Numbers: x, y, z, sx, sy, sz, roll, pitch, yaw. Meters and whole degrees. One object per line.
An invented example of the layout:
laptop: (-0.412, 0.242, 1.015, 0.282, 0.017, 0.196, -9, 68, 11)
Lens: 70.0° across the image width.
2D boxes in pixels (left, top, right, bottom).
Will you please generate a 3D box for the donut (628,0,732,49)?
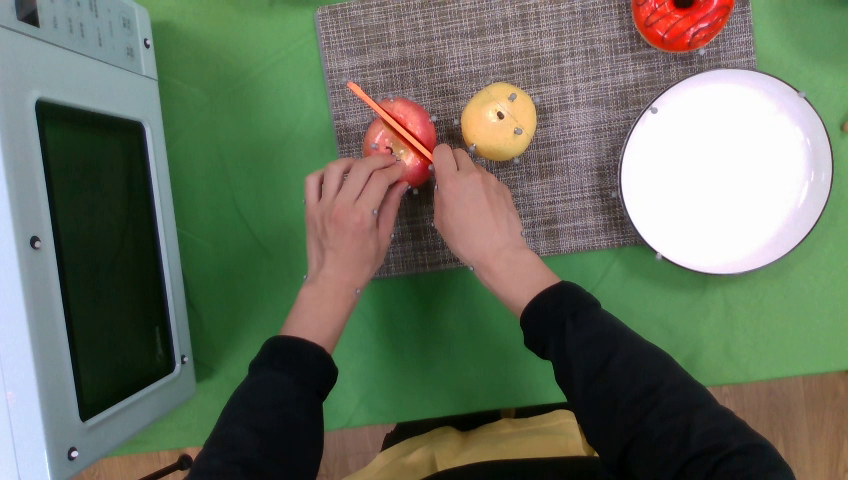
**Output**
donut: (0.256, -0.242, 0.607, 0.099, 0.048, 0.099, 1, 96, 8)

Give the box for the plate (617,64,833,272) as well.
plate: (0.303, -0.072, 0.623, 0.209, 0.038, 0.209, 0, 95, 5)

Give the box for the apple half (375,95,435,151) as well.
apple half: (-0.013, -0.126, 0.630, 0.081, 0.081, 0.033, 40, 90, 1)

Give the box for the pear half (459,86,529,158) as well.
pear half: (0.066, -0.113, 0.604, 0.076, 0.110, 0.056, 42, 97, 5)

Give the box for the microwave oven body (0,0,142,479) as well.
microwave oven body: (-0.451, -0.020, 0.584, 0.326, 0.260, 0.442, -5, 95, 5)

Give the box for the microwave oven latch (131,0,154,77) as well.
microwave oven latch: (-0.312, -0.217, 0.650, 0.030, 0.029, 0.079, -4, 96, 5)

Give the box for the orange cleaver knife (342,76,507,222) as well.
orange cleaver knife: (-0.001, -0.093, 0.609, 0.212, 0.077, 0.012, 40, 98, -11)

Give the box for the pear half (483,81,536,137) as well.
pear half: (0.091, -0.138, 0.610, 0.070, 0.088, 0.031, 42, 97, 6)

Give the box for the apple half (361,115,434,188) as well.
apple half: (-0.034, -0.085, 0.634, 0.081, 0.074, 0.053, 41, 102, -5)

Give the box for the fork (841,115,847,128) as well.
fork: (0.505, -0.170, 0.574, 0.207, 0.018, 0.028, -36, 100, 28)

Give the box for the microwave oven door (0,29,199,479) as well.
microwave oven door: (-0.304, 0.010, 0.568, 0.039, 0.243, 0.356, -5, 94, 6)
